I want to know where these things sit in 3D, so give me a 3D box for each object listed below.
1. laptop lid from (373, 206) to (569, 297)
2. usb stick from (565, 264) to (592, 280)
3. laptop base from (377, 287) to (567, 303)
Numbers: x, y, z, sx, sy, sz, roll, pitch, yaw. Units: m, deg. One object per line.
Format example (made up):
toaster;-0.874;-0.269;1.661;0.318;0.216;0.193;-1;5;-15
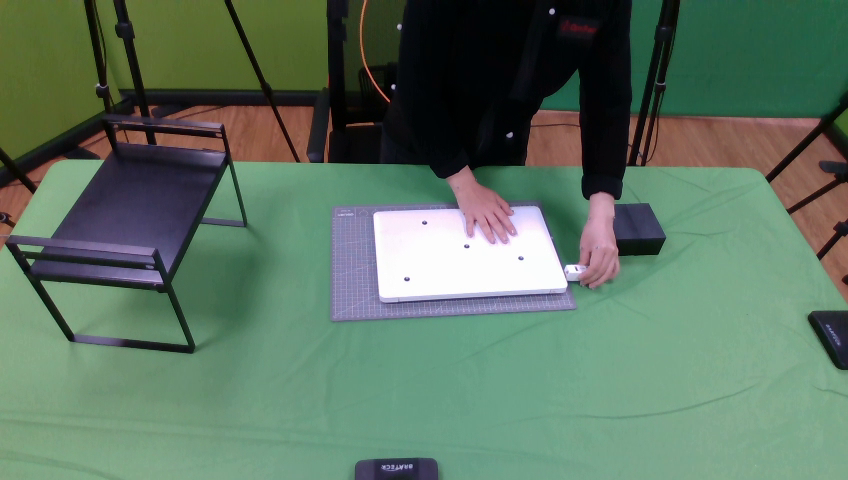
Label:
laptop lid;0.081;0.015;1.174;0.357;0.013;0.240;-1;44;-5
usb stick;0.284;0.061;1.144;0.059;0.027;0.021;-2;47;-6
laptop base;0.081;0.024;1.181;0.355;0.023;0.234;-3;43;-6
